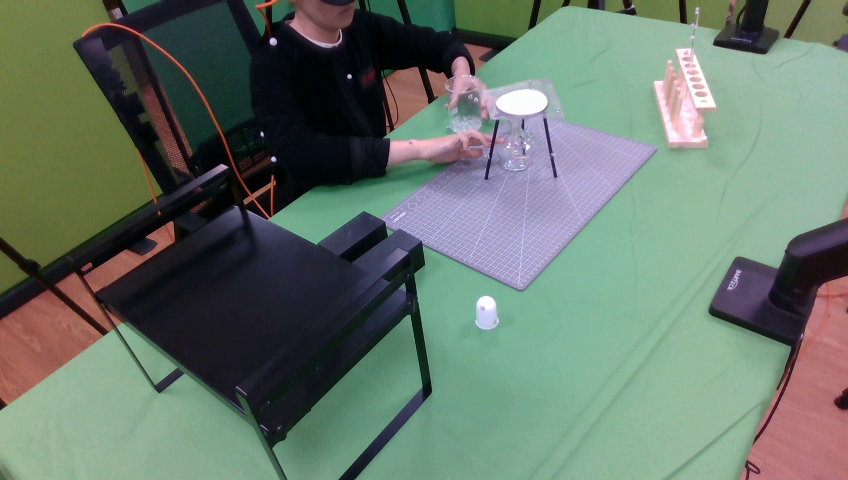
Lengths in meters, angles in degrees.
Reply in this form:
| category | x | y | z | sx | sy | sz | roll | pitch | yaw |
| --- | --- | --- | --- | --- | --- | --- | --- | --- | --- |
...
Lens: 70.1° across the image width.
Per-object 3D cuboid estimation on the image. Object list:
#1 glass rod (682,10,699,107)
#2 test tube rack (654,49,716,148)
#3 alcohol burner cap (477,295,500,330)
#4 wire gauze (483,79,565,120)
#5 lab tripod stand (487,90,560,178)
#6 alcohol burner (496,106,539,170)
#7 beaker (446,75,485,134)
| category | x | y | z | sx | sy | sz | roll | pitch | yaw |
| --- | --- | --- | --- | --- | --- | --- | --- | --- | --- |
| glass rod | 0.501 | -0.335 | 1.138 | 0.008 | 0.201 | 0.008 | -7 | 45 | 7 |
| test tube rack | 0.502 | -0.281 | 1.176 | 0.066 | 0.085 | 0.241 | 2 | 41 | 11 |
| alcohol burner cap | 0.089 | 0.098 | 0.833 | 0.034 | 0.048 | 0.033 | -4 | 41 | 4 |
| wire gauze | 0.168 | -0.238 | 1.034 | 0.125 | 0.011 | 0.121 | -6 | 41 | 2 |
| lab tripod stand | 0.175 | -0.185 | 1.074 | 0.148 | 0.132 | 0.147 | -5 | 42 | 5 |
| alcohol burner | 0.168 | -0.187 | 1.093 | 0.078 | 0.119 | 0.077 | -6 | 41 | 6 |
| beaker | 0.088 | -0.273 | 1.221 | 0.073 | 0.101 | 0.084 | 21 | 48 | 29 |
